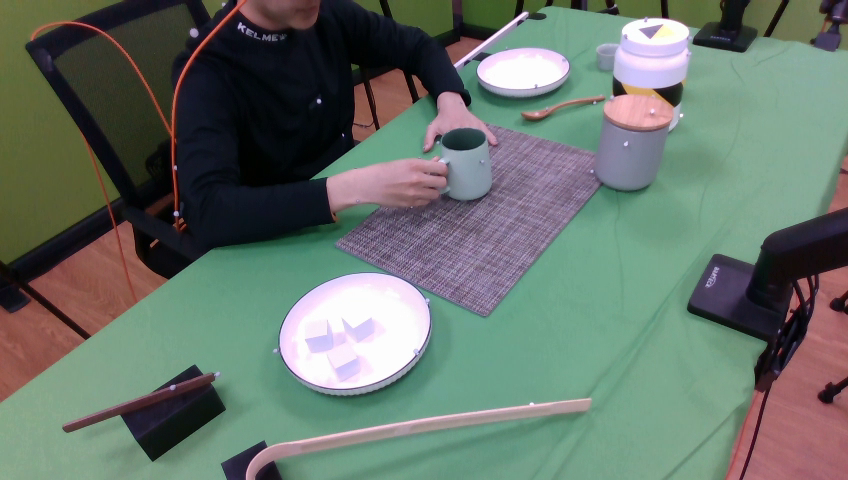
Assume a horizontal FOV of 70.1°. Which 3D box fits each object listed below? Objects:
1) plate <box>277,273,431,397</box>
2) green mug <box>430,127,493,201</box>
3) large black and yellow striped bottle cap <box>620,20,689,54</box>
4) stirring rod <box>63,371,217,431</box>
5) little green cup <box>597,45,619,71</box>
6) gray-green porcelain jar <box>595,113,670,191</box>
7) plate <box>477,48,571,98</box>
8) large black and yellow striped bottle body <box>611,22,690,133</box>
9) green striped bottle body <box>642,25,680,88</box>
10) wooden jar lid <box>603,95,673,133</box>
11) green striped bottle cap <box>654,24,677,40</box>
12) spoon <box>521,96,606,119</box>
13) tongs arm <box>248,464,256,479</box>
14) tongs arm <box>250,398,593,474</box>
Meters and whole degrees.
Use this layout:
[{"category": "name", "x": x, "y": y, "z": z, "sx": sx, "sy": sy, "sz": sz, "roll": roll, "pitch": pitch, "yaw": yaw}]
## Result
[{"category": "plate", "x": -0.092, "y": 0.129, "z": 0.821, "sx": 0.207, "sy": 0.039, "sz": 0.206, "roll": -4, "pitch": 40, "yaw": 4}, {"category": "green mug", "x": 0.059, "y": -0.122, "z": 1.034, "sx": 0.126, "sy": 0.105, "sz": 0.091, "roll": -35, "pitch": 48, "yaw": -28}, {"category": "large black and yellow striped bottle cap", "x": 0.411, "y": -0.363, "z": 1.080, "sx": 0.115, "sy": 0.019, "sz": 0.114, "roll": -4, "pitch": 42, "yaw": 4}, {"category": "stirring rod", "x": -0.337, "y": 0.192, "z": 0.723, "sx": 0.177, "sy": 0.014, "sz": 0.005, "roll": -18, "pitch": 42, "yaw": -12}, {"category": "little green cup", "x": 0.423, "y": -0.413, "z": 1.376, "sx": 0.061, "sy": 0.039, "sz": 0.061, "roll": -4, "pitch": 41, "yaw": 4}, {"category": "gray-green porcelain jar", "x": 0.346, "y": -0.155, "z": 1.017, "sx": 0.106, "sy": 0.127, "sz": 0.105, "roll": -2, "pitch": 44, "yaw": 2}, {"category": "plate", "x": 0.223, "y": -0.371, "z": 1.357, "sx": 0.209, "sy": 0.038, "sz": 0.208, "roll": -4, "pitch": 41, "yaw": 4}, {"category": "large black and yellow striped bottle body", "x": 0.420, "y": -0.300, "z": 1.132, "sx": 0.131, "sy": 0.185, "sz": 0.130, "roll": -5, "pitch": 41, "yaw": 4}, {"category": "green striped bottle body", "x": 0.499, "y": -0.387, "z": 1.271, "sx": 0.063, "sy": 0.120, "sz": 0.063, "roll": -4, "pitch": 41, "yaw": 4}, {"category": "wooden jar lid", "x": 0.343, "y": -0.200, "z": 0.974, "sx": 0.108, "sy": 0.021, "sz": 0.108, "roll": -2, "pitch": 39, "yaw": 2}, {"category": "green striped bottle cap", "x": 0.495, "y": -0.426, "z": 1.237, "sx": 0.044, "sy": 0.020, "sz": 0.044, "roll": -6, "pitch": 42, "yaw": 6}, {"category": "spoon", "x": 0.291, "y": -0.277, "z": 1.249, "sx": 0.194, "sy": 0.022, "sz": 0.041, "roll": -18, "pitch": 24, "yaw": -11}, {"category": "tongs arm", "x": 0.012, "y": 0.262, "z": 0.615, "sx": 0.385, "sy": 0.026, "sz": 0.050, "roll": 3, "pitch": 42, "yaw": -2}, {"category": "tongs arm", "x": 0.008, "y": 0.212, "z": 0.675, "sx": 0.389, "sy": 0.028, "sz": 0.028, "roll": -5, "pitch": 46, "yaw": -11}]
